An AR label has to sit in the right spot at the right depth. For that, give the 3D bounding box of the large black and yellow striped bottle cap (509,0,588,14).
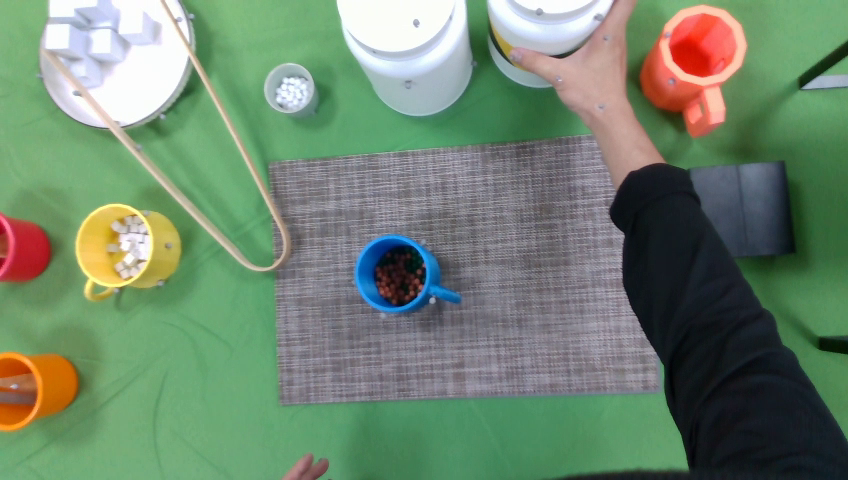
[{"bbox_3d":[0.119,-0.270,0.566,0.115,0.019,0.115,0,87,5],"label":"large black and yellow striped bottle cap"}]

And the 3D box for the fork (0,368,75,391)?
[{"bbox_3d":[-0.530,0.162,0.713,0.209,0.018,0.028,12,85,-36],"label":"fork"}]

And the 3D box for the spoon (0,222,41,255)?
[{"bbox_3d":[-0.570,0.020,0.730,0.194,0.021,0.041,-23,80,-40],"label":"spoon"}]

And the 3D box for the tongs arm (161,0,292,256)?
[{"bbox_3d":[-0.253,-0.158,0.743,0.028,0.028,0.387,-28,90,-5],"label":"tongs arm"}]

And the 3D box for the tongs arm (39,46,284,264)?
[{"bbox_3d":[-0.321,-0.107,0.744,0.051,0.026,0.384,-42,90,-1],"label":"tongs arm"}]

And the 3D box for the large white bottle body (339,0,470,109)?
[{"bbox_3d":[-0.018,-0.231,0.663,0.130,0.185,0.130,0,86,7],"label":"large white bottle body"}]

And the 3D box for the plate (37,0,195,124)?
[{"bbox_3d":[-0.390,-0.248,0.780,0.207,0.039,0.207,0,87,6],"label":"plate"}]

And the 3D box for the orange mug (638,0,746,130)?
[{"bbox_3d":[0.297,-0.189,0.669,0.083,0.101,0.125,-13,80,6],"label":"orange mug"}]

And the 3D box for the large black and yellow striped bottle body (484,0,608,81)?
[{"bbox_3d":[0.130,-0.262,0.649,0.130,0.184,0.130,0,86,7],"label":"large black and yellow striped bottle body"}]

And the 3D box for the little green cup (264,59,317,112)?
[{"bbox_3d":[-0.163,-0.188,0.751,0.061,0.039,0.061,0,87,6],"label":"little green cup"}]

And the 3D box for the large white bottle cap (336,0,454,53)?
[{"bbox_3d":[-0.028,-0.237,0.579,0.114,0.018,0.114,0,86,7],"label":"large white bottle cap"}]

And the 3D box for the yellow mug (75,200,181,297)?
[{"bbox_3d":[-0.372,0.017,0.748,0.099,0.064,0.131,35,92,7],"label":"yellow mug"}]

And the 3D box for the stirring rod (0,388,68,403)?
[{"bbox_3d":[-0.520,0.180,0.714,0.006,0.178,0.014,-18,64,48],"label":"stirring rod"}]

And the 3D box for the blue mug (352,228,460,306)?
[{"bbox_3d":[-0.013,0.039,0.682,0.116,0.106,0.082,22,89,8],"label":"blue mug"}]
